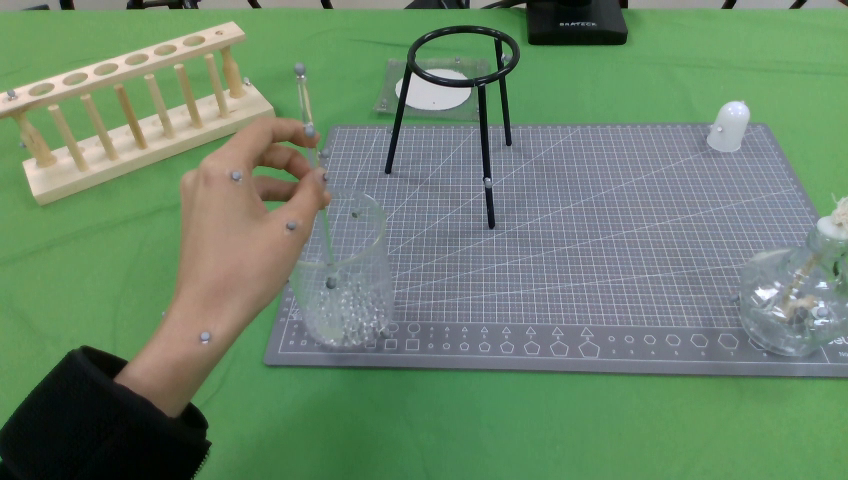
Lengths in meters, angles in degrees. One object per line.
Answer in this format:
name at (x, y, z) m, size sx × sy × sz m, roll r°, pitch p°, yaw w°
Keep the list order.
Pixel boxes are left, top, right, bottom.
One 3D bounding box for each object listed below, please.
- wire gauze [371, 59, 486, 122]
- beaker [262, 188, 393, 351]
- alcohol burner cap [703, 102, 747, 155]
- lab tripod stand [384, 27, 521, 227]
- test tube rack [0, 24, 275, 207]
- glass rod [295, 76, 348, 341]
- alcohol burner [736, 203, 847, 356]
wire gauze at (0.008, -0.173, 0.689) m, size 0.125 × 0.011 × 0.120 m, roll 3°, pitch 45°, yaw 7°
beaker at (-0.063, 0.025, 0.430) m, size 0.084 × 0.101 × 0.073 m, roll -1°, pitch 46°, yaw 3°
alcohol burner cap at (0.292, -0.110, 0.584) m, size 0.034 × 0.048 × 0.033 m, roll -1°, pitch 46°, yaw 2°
lab tripod stand at (0.030, -0.103, 0.526) m, size 0.148 × 0.133 × 0.147 m, roll -2°, pitch 47°, yaw 3°
test tube rack at (-0.282, -0.130, 0.605) m, size 0.242 × 0.086 × 0.066 m, roll -27°, pitch 50°, yaw -21°
glass rod at (-0.063, -0.007, 0.388) m, size 0.008 × 0.201 × 0.008 m, roll -2°, pitch 35°, yaw 2°
alcohol burner at (0.257, 0.023, 0.405) m, size 0.078 × 0.120 × 0.077 m, roll -1°, pitch 44°, yaw 2°
